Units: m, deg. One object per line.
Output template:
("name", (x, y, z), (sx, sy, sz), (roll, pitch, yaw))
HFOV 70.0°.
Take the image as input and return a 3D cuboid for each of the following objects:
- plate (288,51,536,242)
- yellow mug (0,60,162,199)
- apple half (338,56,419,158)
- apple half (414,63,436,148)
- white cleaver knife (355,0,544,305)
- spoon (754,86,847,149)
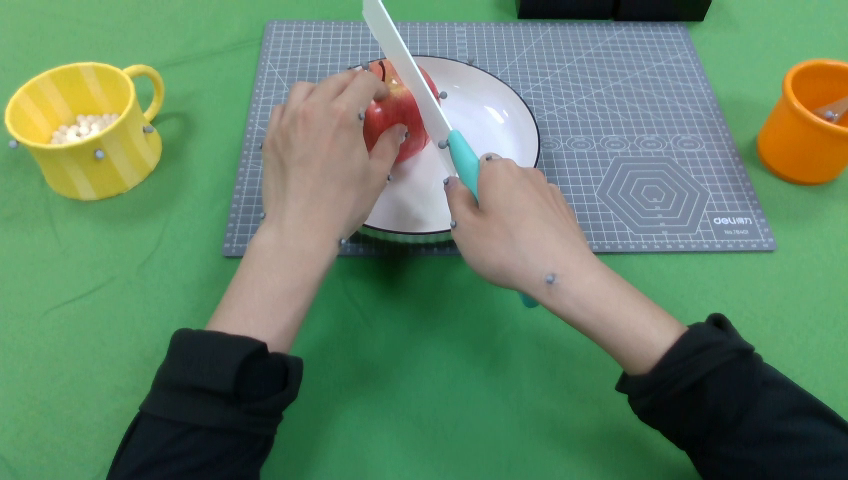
("plate", (-0.010, -0.081, 0.522), (0.209, 0.038, 0.207), (1, 56, -1))
("yellow mug", (-0.277, -0.104, 0.515), (0.099, 0.064, 0.130), (29, 59, 17))
("apple half", (-0.043, -0.105, 0.504), (0.053, 0.075, 0.080), (-26, 62, -11))
("apple half", (-0.008, -0.120, 0.515), (0.033, 0.082, 0.080), (-25, 60, -14))
("white cleaver knife", (0.012, -0.080, 0.449), (0.021, 0.066, 0.284), (-24, 75, -9))
("spoon", (0.376, -0.133, 0.504), (0.022, 0.194, 0.041), (27, 43, -38))
